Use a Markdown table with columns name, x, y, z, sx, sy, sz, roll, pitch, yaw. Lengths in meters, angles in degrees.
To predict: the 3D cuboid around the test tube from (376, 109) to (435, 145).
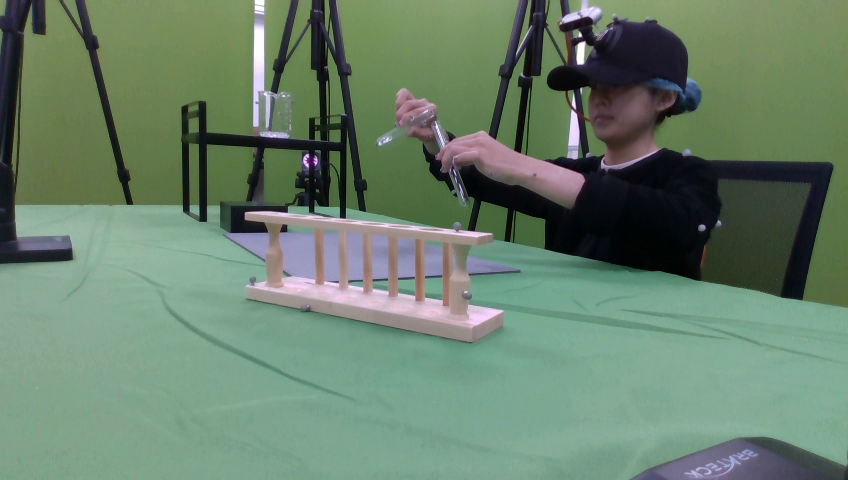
| name | x | y | z | sx | sy | sz | roll | pitch | yaw |
| --- | --- | --- | --- | --- | --- | --- | --- | --- | --- |
| test tube | -0.035 | -0.187 | 1.014 | 0.017 | 0.017 | 0.149 | -4 | -8 | -41 |

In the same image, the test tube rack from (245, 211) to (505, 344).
| name | x | y | z | sx | sy | sz | roll | pitch | yaw |
| --- | --- | --- | --- | --- | --- | --- | --- | --- | --- |
| test tube rack | -0.049 | 0.025 | 0.547 | 0.241 | 0.085 | 0.067 | 7 | 8 | 28 |

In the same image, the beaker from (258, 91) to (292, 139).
| name | x | y | z | sx | sy | sz | roll | pitch | yaw |
| --- | --- | --- | --- | --- | --- | --- | --- | --- | --- |
| beaker | -0.331 | -0.276 | 1.343 | 0.074 | 0.100 | 0.083 | 0 | 8 | -20 |

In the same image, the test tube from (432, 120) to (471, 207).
| name | x | y | z | sx | sy | sz | roll | pitch | yaw |
| --- | --- | --- | --- | --- | --- | --- | --- | --- | --- |
| test tube | 0.042 | -0.117 | 0.922 | 0.017 | 0.150 | 0.017 | -17 | -18 | -6 |
